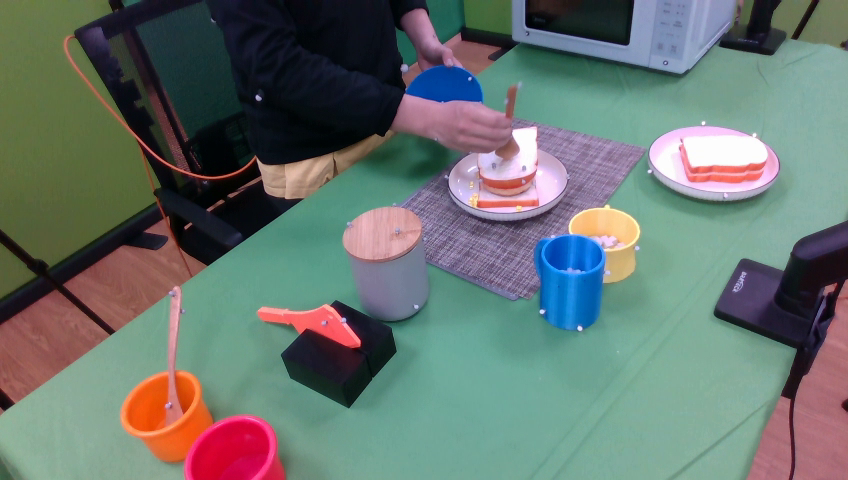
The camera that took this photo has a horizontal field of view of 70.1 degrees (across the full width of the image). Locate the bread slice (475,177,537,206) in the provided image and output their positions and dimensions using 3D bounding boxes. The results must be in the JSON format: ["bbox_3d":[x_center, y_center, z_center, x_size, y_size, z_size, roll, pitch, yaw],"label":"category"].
[{"bbox_3d":[0.143,-0.104,1.059,0.105,0.019,0.131,1,45,5],"label":"bread slice"}]

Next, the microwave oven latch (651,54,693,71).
[{"bbox_3d":[0.532,-0.386,1.301,0.078,0.029,0.030,26,51,33],"label":"microwave oven latch"}]

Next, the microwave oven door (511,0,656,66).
[{"bbox_3d":[0.351,-0.539,1.349,0.353,0.245,0.039,24,50,31],"label":"microwave oven door"}]

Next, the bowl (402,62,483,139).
[{"bbox_3d":[0.039,-0.249,1.141,0.151,0.077,0.151,-2,72,8],"label":"bowl"}]

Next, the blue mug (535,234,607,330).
[{"bbox_3d":[0.190,0.048,0.824,0.082,0.106,0.115,-26,44,-21],"label":"blue mug"}]

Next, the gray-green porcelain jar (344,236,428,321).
[{"bbox_3d":[-0.049,0.042,0.849,0.106,0.127,0.105,-4,41,4],"label":"gray-green porcelain jar"}]

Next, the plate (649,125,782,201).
[{"bbox_3d":[0.493,-0.128,1.036,0.207,0.039,0.206,-4,41,4],"label":"plate"}]

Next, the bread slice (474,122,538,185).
[{"bbox_3d":[0.141,-0.144,1.008,0.107,0.018,0.133,-9,47,9],"label":"bread slice"}]

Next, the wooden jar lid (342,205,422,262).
[{"bbox_3d":[-0.055,-0.006,0.808,0.108,0.021,0.108,-6,40,6],"label":"wooden jar lid"}]

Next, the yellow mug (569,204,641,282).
[{"bbox_3d":[0.268,-0.005,0.904,0.099,0.064,0.130,7,41,15],"label":"yellow mug"}]

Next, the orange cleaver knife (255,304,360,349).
[{"bbox_3d":[-0.161,0.115,0.813,0.210,0.077,0.012,-4,32,47],"label":"orange cleaver knife"}]

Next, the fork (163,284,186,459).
[{"bbox_3d":[-0.302,0.157,0.733,0.028,0.019,0.207,-3,84,15],"label":"fork"}]

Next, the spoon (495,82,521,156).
[{"bbox_3d":[0.127,-0.175,0.903,0.041,0.194,0.021,-3,64,4],"label":"spoon"}]

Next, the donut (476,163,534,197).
[{"bbox_3d":[0.138,-0.116,1.025,0.099,0.048,0.098,-8,55,12],"label":"donut"}]

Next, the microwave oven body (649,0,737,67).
[{"bbox_3d":[0.475,-0.602,1.411,0.438,0.261,0.327,23,50,32],"label":"microwave oven body"}]

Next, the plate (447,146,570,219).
[{"bbox_3d":[0.145,-0.098,1.046,0.209,0.038,0.208,-4,41,4],"label":"plate"}]
